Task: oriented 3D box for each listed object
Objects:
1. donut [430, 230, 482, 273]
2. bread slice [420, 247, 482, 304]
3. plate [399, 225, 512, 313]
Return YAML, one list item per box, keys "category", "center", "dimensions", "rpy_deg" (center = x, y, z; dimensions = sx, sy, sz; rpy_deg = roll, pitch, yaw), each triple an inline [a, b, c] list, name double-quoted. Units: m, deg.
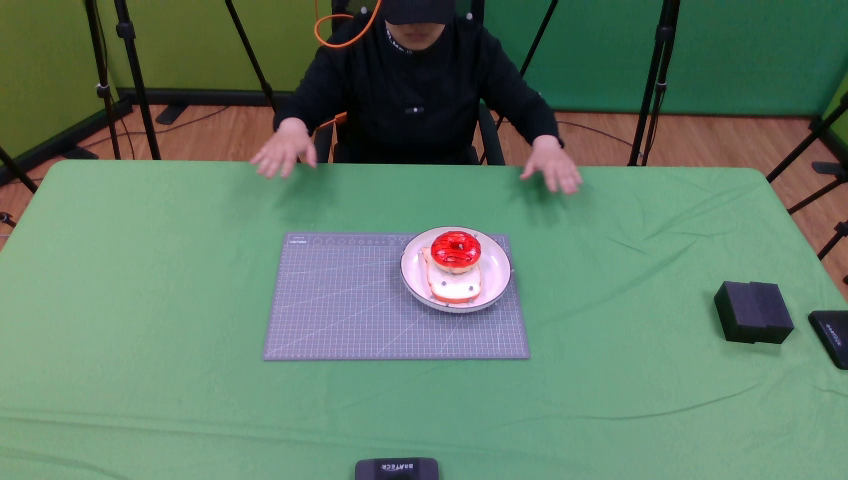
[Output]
- category: "donut"
  center: [0.060, 0.020, 1.132]
  dimensions: [0.099, 0.048, 0.098]
  rpy_deg: [0, 43, 0]
- category: "bread slice"
  center: [0.056, 0.062, 1.131]
  dimensions: [0.107, 0.018, 0.133]
  rpy_deg: [-6, 47, -8]
- category: "plate"
  center: [0.057, 0.057, 1.134]
  dimensions: [0.209, 0.038, 0.208]
  rpy_deg: [2, 46, -2]
